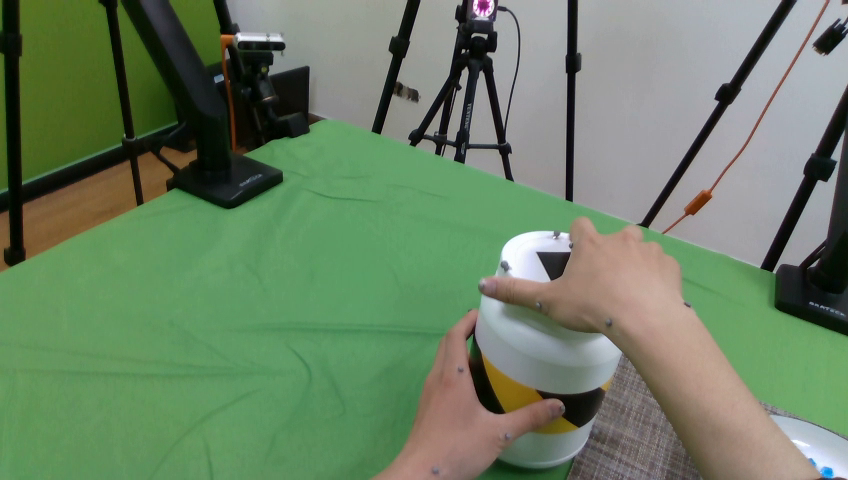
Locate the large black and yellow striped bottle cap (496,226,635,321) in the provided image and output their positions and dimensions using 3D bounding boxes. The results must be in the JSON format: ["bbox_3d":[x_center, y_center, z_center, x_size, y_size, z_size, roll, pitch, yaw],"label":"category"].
[{"bbox_3d":[0.119,0.025,0.508,0.115,0.019,0.114,7,33,-4],"label":"large black and yellow striped bottle cap"}]

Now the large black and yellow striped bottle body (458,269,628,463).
[{"bbox_3d":[0.108,0.099,0.557,0.131,0.185,0.129,6,34,-4],"label":"large black and yellow striped bottle body"}]

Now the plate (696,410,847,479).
[{"bbox_3d":[0.339,0.242,0.527,0.208,0.039,0.205,7,34,-4],"label":"plate"}]
